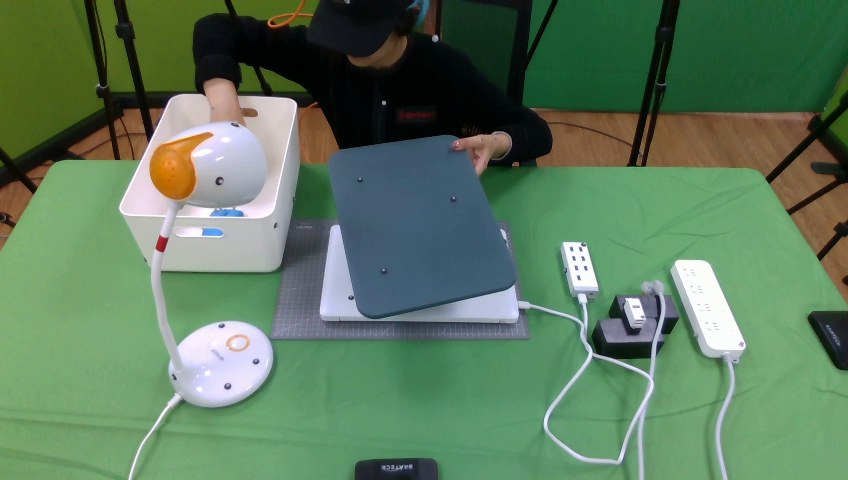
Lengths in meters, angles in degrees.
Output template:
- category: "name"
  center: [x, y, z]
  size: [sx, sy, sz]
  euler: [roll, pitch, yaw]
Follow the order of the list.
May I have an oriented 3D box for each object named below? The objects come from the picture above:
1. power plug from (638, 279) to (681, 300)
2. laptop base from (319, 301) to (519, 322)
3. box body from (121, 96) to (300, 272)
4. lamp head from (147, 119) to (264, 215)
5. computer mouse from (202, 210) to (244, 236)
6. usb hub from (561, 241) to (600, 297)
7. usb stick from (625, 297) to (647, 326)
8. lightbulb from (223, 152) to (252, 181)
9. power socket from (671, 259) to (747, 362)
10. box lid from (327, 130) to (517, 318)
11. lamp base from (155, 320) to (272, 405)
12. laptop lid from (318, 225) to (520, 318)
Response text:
- category: "power plug"
  center: [0.434, 0.099, 1.118]
  size: [0.073, 0.053, 0.035]
  euler: [34, 37, -15]
- category: "laptop base"
  center: [-0.009, 0.063, 1.138]
  size: [0.354, 0.023, 0.234]
  euler: [1, 42, -3]
- category: "box body"
  center: [-0.387, -0.112, 1.182]
  size: [0.254, 0.161, 0.361]
  euler: [1, 46, -3]
- category: "lamp head"
  center: [-0.276, -0.087, 0.740]
  size: [0.112, 0.112, 0.123]
  euler: [20, 23, 15]
- category: "computer mouse"
  center: [-0.389, -0.022, 1.171]
  size: [0.063, 0.041, 0.116]
  euler: [-1, 41, -2]
- category: "usb hub"
  center: [0.300, 0.055, 1.162]
  size: [0.049, 0.025, 0.124]
  euler: [2, 46, -3]
- category: "usb stick"
  center: [0.360, 0.116, 1.034]
  size: [0.021, 0.027, 0.059]
  euler: [-2, 44, -2]
- category: "lightbulb"
  center: [-0.404, -0.162, 1.298]
  size: [0.059, 0.060, 0.107]
  euler: [-20, 26, -22]
- category: "power socket"
  center: [0.516, 0.119, 1.108]
  size: [0.072, 0.033, 0.225]
  euler: [1, 46, -2]
- category: "box lid"
  center: [-0.015, -0.043, 1.034]
  size: [0.263, 0.015, 0.369]
  euler: [-12, 54, -8]
- category: "lamp base"
  center: [-0.330, 0.149, 0.918]
  size: [0.160, 0.181, 0.179]
  euler: [26, 52, 20]
- category: "laptop lid"
  center: [-0.009, 0.053, 1.131]
  size: [0.357, 0.013, 0.240]
  euler: [2, 43, -2]
